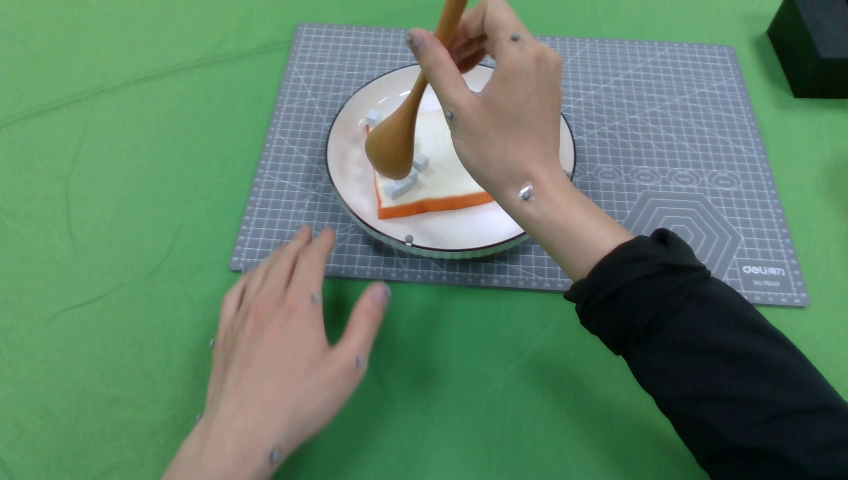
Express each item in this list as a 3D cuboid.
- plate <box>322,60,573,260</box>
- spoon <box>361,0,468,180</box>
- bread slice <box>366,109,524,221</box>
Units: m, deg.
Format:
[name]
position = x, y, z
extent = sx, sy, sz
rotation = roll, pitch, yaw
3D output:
[plate]
position = 0.019, -0.068, 0.513
extent = 0.209, 0.038, 0.207
rotation = 1, 58, 0
[spoon]
position = -0.003, -0.107, 0.395
extent = 0.041, 0.194, 0.021
rotation = 37, 44, 6
[bread slice]
position = 0.018, -0.071, 0.519
extent = 0.131, 0.019, 0.104
rotation = -10, 58, -4
